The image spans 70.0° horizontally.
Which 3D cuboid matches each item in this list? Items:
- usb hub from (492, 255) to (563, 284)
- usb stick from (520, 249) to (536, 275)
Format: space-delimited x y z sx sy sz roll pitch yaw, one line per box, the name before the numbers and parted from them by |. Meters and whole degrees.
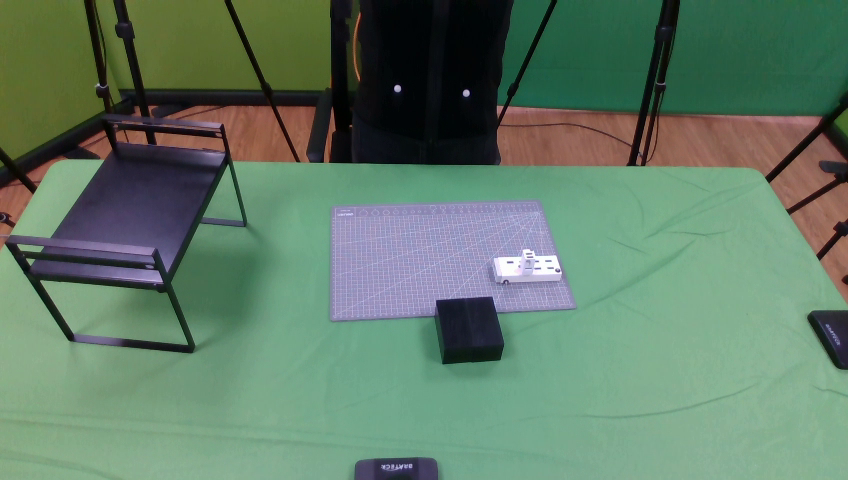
usb hub | 0.196 0.056 1.150 0.125 0.025 0.049 -3 47 -6
usb stick | 0.191 0.046 1.119 0.021 0.059 0.027 -2 47 -4
